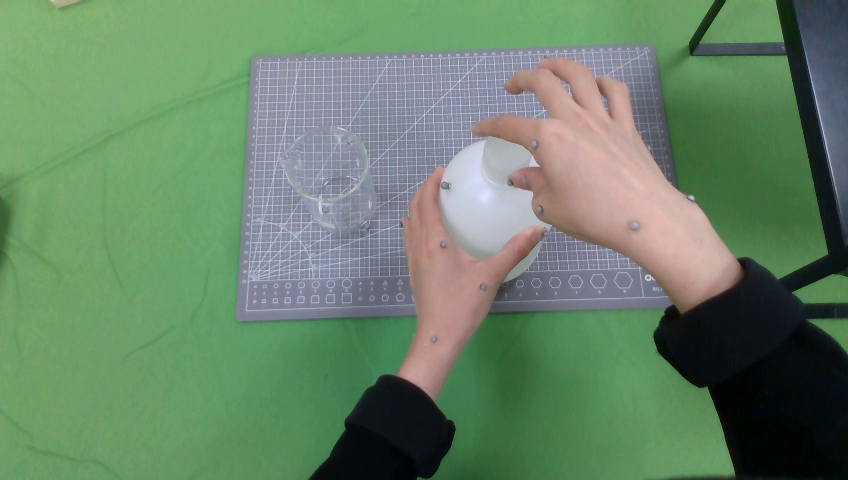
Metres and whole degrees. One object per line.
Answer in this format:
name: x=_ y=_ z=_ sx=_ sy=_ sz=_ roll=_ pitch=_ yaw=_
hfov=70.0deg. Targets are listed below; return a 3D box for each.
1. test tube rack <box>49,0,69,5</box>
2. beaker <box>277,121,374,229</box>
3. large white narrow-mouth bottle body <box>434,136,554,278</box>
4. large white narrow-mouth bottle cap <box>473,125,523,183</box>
test tube rack: x=-0.332 y=-0.359 z=0.684 sx=0.242 sy=0.085 sz=0.066 roll=-22 pitch=74 yaw=-6
beaker: x=-0.089 y=-0.057 z=0.581 sx=0.084 sy=0.101 sz=0.073 roll=8 pitch=72 yaw=4
large white narrow-mouth bottle body: x=0.059 y=-0.034 z=0.524 sx=0.102 sy=0.196 sz=0.101 roll=-1 pitch=74 yaw=3
large white narrow-mouth bottle cap: x=0.053 y=-0.061 z=0.435 sx=0.038 sy=0.024 sz=0.037 roll=-1 pitch=74 yaw=2
